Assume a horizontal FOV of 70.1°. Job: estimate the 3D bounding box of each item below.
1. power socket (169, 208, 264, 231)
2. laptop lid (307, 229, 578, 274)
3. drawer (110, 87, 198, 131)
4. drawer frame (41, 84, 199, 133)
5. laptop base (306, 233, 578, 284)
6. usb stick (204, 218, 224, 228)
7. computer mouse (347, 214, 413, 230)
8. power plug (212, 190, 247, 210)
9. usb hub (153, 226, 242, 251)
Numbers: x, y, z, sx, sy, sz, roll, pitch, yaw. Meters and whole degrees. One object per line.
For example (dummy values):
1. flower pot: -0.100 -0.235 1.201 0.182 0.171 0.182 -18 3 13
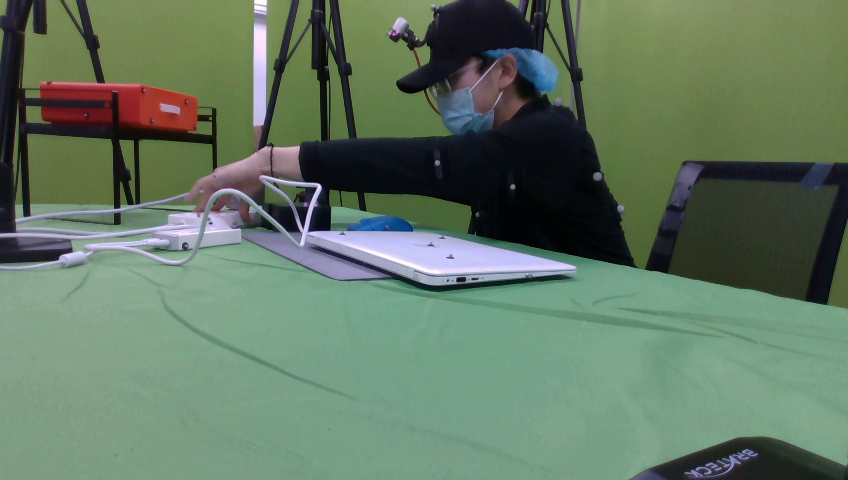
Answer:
1. power socket: -0.380 -0.038 1.128 0.072 0.032 0.227 4 8 16
2. laptop lid: 0.009 0.010 0.850 0.243 0.013 0.355 0 8 -32
3. drawer: -0.602 -0.263 1.225 0.211 0.073 0.195 3 8 10
4. drawer frame: -0.604 -0.264 1.225 0.213 0.082 0.202 3 8 8
5. laptop base: 0.007 0.022 0.850 0.237 0.023 0.352 1 7 -34
6. usb stick: -0.346 -0.019 1.009 0.027 0.021 0.059 45 -7 1
7. computer mouse: -0.079 -0.025 1.080 0.117 0.041 0.062 -5 11 -18
8. power plug: -0.385 -0.072 1.207 0.072 0.052 0.035 12 14 29
9. usb hub: -0.337 -0.003 0.907 0.049 0.025 0.125 6 9 28
